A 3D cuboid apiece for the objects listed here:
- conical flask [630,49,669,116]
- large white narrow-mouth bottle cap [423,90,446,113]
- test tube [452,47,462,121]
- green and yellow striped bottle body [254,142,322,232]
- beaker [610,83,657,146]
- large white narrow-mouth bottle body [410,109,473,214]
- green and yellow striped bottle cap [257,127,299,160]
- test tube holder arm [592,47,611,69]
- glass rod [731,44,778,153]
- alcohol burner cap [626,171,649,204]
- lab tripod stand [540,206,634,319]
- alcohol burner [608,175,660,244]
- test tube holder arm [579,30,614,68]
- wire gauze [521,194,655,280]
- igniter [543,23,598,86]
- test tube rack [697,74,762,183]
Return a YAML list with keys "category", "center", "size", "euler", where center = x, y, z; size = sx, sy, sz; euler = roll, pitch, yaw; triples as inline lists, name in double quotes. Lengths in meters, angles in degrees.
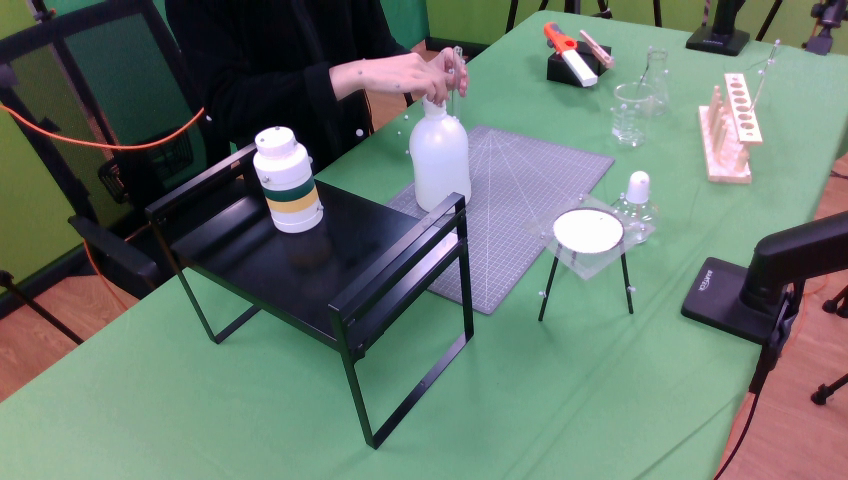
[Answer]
- category: "conical flask"
  center: [0.457, -0.317, 1.205]
  size: [0.075, 0.122, 0.075]
  euler: [-4, 41, 4]
- category: "large white narrow-mouth bottle cap"
  center: [0.016, -0.217, 0.948]
  size: [0.038, 0.024, 0.037]
  euler: [-5, 39, 4]
- category: "test tube"
  center: [0.057, -0.264, 1.055]
  size: [0.017, 0.151, 0.017]
  euler: [0, 44, 1]
- category: "green and yellow striped bottle body"
  center: [-0.165, -0.073, 0.732]
  size: [0.063, 0.120, 0.063]
  euler: [-4, 41, 4]
- category: "beaker"
  center: [0.388, -0.235, 1.138]
  size: [0.074, 0.101, 0.083]
  euler: [-31, 45, -25]
- category: "large white narrow-mouth bottle body"
  center: [0.027, -0.145, 1.006]
  size: [0.102, 0.195, 0.101]
  euler: [-5, 40, 4]
- category: "green and yellow striped bottle cap"
  center: [-0.169, -0.112, 0.698]
  size: [0.045, 0.020, 0.045]
  euler: [-5, 40, 5]
- category: "test tube holder arm"
  center: [0.386, -0.398, 1.317]
  size: [0.010, 0.015, 0.087]
  euler: [-10, 41, -3]
- category: "glass rod"
  center: [0.556, -0.234, 1.020]
  size: [0.008, 0.200, 0.008]
  euler: [2, 40, -1]
- category: "alcohol burner cap"
  center: [0.320, -0.081, 0.900]
  size: [0.034, 0.048, 0.033]
  euler: [-4, 42, 4]
- category: "lab tripod stand"
  center: [0.217, 0.034, 0.821]
  size: [0.148, 0.132, 0.147]
  euler: [-4, 42, 4]
- category: "alcohol burner"
  center: [0.322, -0.053, 0.924]
  size: [0.078, 0.119, 0.077]
  euler: [-4, 43, 4]
- category: "test tube holder arm"
  center: [0.384, -0.428, 1.351]
  size: [0.013, 0.015, 0.177]
  euler: [-11, 41, -4]
- category: "wire gauze"
  center: [0.207, -0.012, 0.772]
  size: [0.122, 0.011, 0.124]
  euler: [-28, 44, -20]
- category: "igniter"
  center: [0.320, -0.419, 1.344]
  size: [0.057, 0.025, 0.274]
  euler: [-12, 44, -3]
- category: "test tube rack"
  center: [0.547, -0.208, 1.095]
  size: [0.066, 0.085, 0.242]
  euler: [5, 42, 15]
